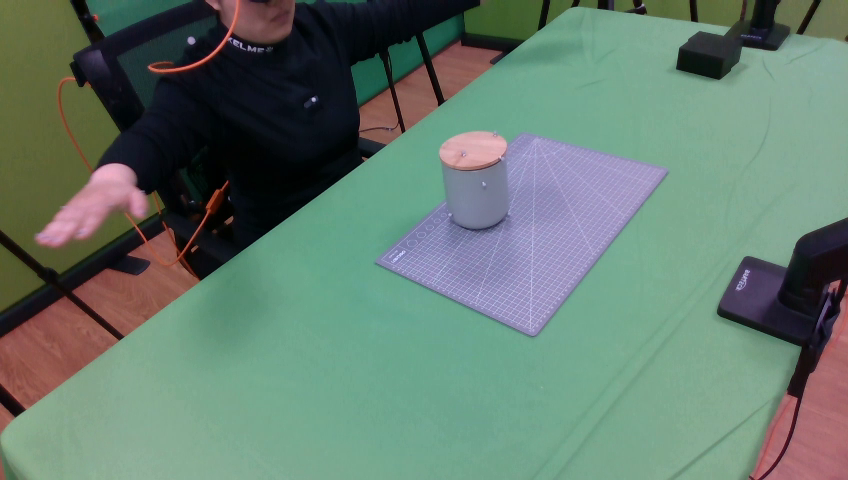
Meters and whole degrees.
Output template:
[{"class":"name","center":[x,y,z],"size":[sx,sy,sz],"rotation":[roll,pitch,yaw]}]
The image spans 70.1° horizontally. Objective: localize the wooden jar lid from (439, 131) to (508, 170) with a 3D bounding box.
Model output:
[{"class":"wooden jar lid","center":[0.078,-0.136,0.948],"size":[0.108,0.021,0.108],"rotation":[-5,38,5]}]

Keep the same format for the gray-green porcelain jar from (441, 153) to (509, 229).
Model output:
[{"class":"gray-green porcelain jar","center":[0.086,-0.090,0.988],"size":[0.106,0.127,0.105],"rotation":[-5,40,5]}]
